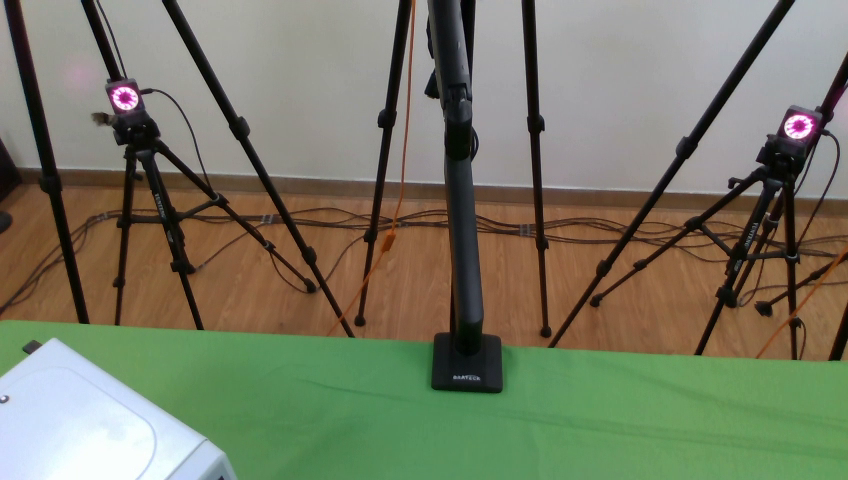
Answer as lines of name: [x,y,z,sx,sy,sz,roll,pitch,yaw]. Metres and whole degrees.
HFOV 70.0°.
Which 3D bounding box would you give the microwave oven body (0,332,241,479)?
microwave oven body: [-0.466,0.378,0.670,0.324,0.262,0.440,23,49,21]
